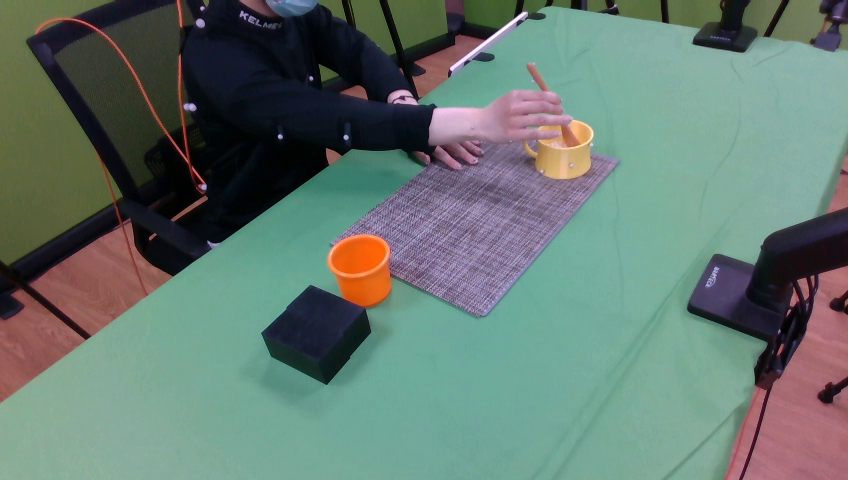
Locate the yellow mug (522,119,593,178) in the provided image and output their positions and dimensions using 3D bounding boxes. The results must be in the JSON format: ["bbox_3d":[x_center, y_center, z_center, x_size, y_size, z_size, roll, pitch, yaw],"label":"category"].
[{"bbox_3d":[0.237,-0.169,1.092,0.130,0.064,0.100,17,46,27],"label":"yellow mug"}]

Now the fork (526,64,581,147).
[{"bbox_3d":[0.227,-0.220,1.037,0.028,0.209,0.018,2,50,47],"label":"fork"}]
